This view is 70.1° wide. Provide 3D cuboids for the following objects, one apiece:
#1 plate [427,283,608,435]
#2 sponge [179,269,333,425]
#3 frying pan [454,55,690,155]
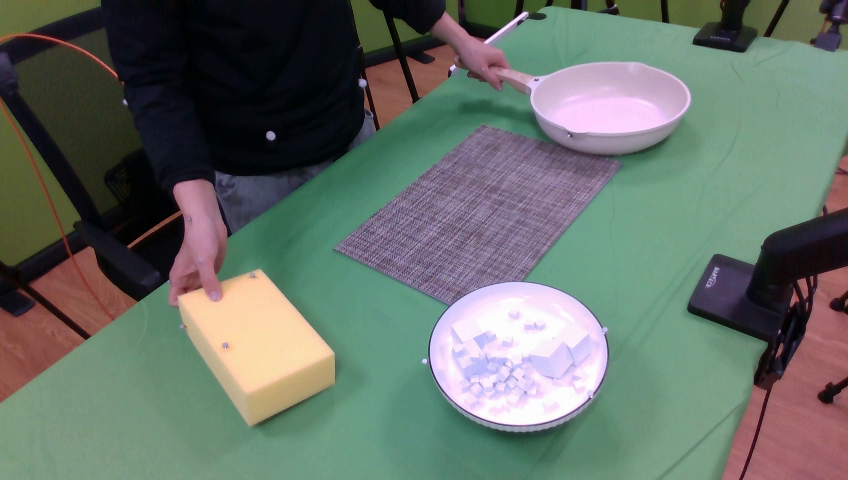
[{"bbox_3d":[0.108,0.137,0.708,0.207,0.039,0.206,-4,42,4],"label":"plate"},{"bbox_3d":[-0.223,0.131,0.796,0.119,0.061,0.205,-22,44,-33],"label":"sponge"},{"bbox_3d":[0.270,-0.297,1.211,0.484,0.103,0.307,27,49,24],"label":"frying pan"}]
